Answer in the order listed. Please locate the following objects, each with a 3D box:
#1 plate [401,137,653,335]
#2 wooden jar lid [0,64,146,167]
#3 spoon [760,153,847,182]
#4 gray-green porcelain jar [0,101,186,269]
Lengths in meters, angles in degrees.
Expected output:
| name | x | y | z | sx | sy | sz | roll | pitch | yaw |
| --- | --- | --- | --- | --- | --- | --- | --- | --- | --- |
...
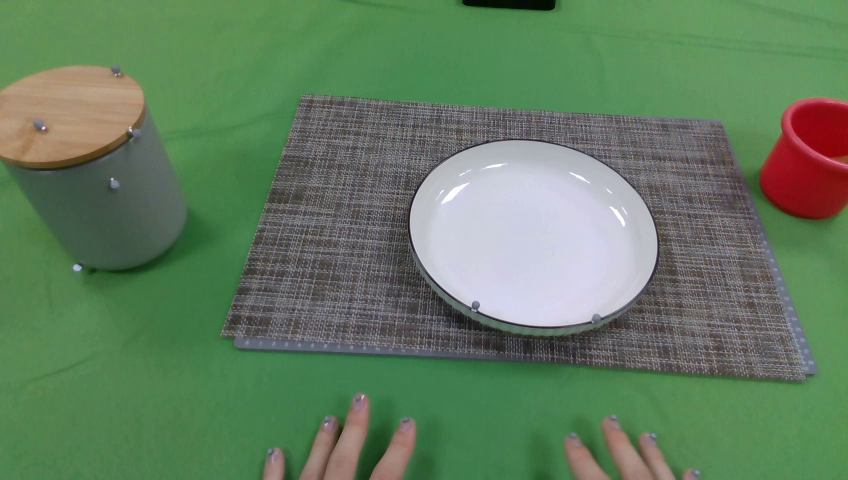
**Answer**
| name | x | y | z | sx | sy | sz | roll | pitch | yaw |
| --- | --- | --- | --- | --- | --- | --- | --- | --- | --- |
| plate | 0.085 | -0.005 | 0.516 | 0.208 | 0.039 | 0.205 | 1 | 52 | -1 |
| wooden jar lid | -0.255 | -0.087 | 0.433 | 0.108 | 0.021 | 0.107 | 4 | 50 | -4 |
| spoon | 0.390 | -0.073 | 0.518 | 0.041 | 0.022 | 0.193 | -43 | 19 | -30 |
| gray-green porcelain jar | -0.256 | -0.047 | 0.484 | 0.106 | 0.127 | 0.105 | 1 | 51 | -1 |
